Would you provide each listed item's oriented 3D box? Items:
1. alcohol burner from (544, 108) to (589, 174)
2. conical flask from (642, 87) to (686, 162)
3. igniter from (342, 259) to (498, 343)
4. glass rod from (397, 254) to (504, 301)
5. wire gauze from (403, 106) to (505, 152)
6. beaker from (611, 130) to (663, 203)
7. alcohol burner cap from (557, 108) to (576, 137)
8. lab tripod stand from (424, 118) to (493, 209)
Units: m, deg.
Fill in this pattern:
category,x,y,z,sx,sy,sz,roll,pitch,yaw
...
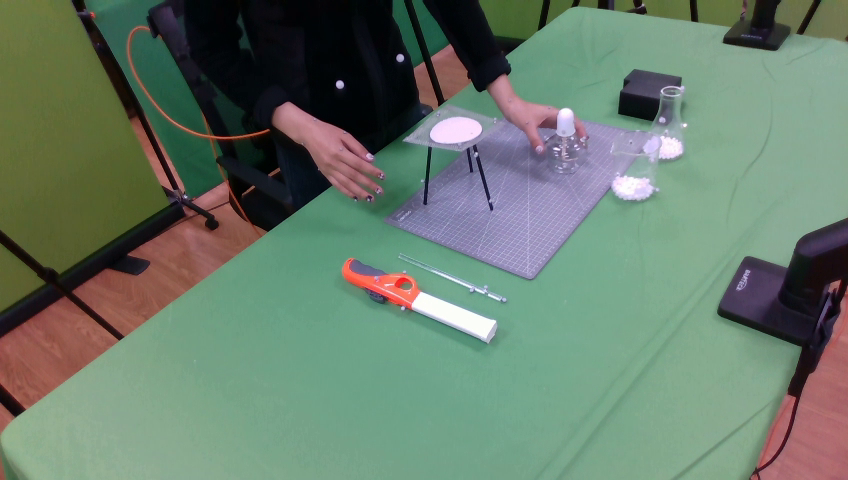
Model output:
category,x,y,z,sx,sy,sz,roll,pitch,yaw
alcohol burner,0.252,-0.178,1.071,0.078,0.120,0.077,-7,40,7
conical flask,0.429,-0.206,1.067,0.075,0.122,0.075,-6,40,6
igniter,-0.017,0.084,0.883,0.274,0.025,0.057,20,59,31
glass rod,0.036,0.054,0.922,0.198,0.008,0.008,21,49,31
wire gauze,0.049,-0.181,0.992,0.120,0.011,0.125,23,48,34
beaker,0.346,-0.118,0.998,0.084,0.101,0.073,-17,40,-7
alcohol burner cap,0.246,-0.205,1.047,0.034,0.048,0.033,-8,44,8
lab tripod stand,0.061,-0.133,1.038,0.148,0.132,0.147,-6,39,6
